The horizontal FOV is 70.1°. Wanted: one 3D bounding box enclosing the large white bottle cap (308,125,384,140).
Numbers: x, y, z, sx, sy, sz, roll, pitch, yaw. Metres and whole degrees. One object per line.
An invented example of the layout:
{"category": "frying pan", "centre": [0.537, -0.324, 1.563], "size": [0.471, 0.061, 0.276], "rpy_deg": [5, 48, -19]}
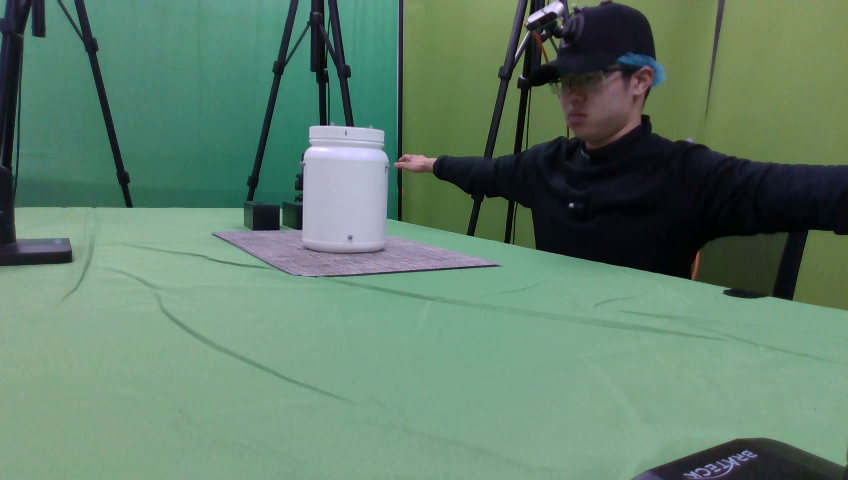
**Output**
{"category": "large white bottle cap", "centre": [-0.119, -0.163, 0.927], "size": [0.115, 0.018, 0.115], "rpy_deg": [2, 6, 0]}

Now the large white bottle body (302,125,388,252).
{"category": "large white bottle body", "centre": [-0.122, -0.080, 0.937], "size": [0.131, 0.184, 0.130], "rpy_deg": [2, 7, 0]}
